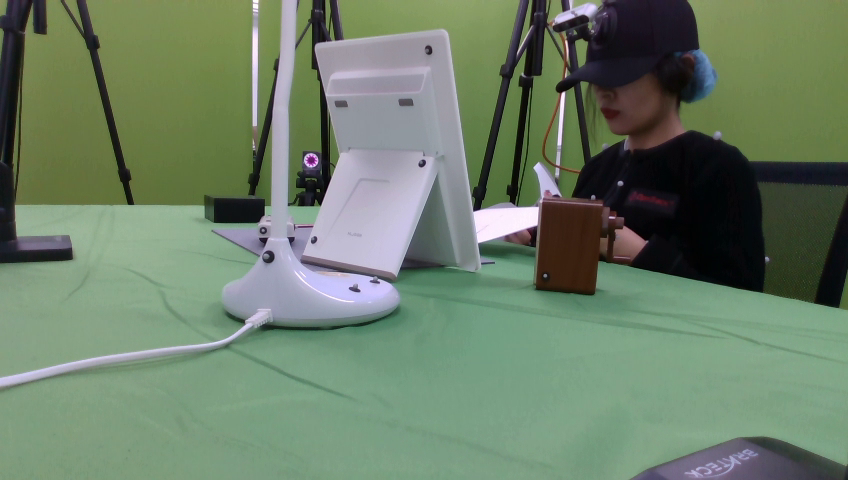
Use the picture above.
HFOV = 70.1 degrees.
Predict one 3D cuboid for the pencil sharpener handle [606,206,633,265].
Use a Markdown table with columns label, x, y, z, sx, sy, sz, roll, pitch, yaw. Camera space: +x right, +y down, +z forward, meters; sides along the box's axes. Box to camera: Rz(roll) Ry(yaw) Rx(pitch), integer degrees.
| label | x | y | z | sx | sy | sz | roll | pitch | yaw |
| --- | --- | --- | --- | --- | --- | --- | --- | --- | --- |
| pencil sharpener handle | 0.222 | -0.004 | 0.683 | 0.030 | 0.068 | 0.036 | 5 | 21 | 16 |

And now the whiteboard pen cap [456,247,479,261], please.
| label | x | y | z | sx | sy | sz | roll | pitch | yaw |
| --- | --- | --- | --- | --- | --- | --- | --- | --- | --- |
| whiteboard pen cap | 0.060 | 0.020 | 0.851 | 0.033 | 0.018 | 0.018 | 10 | 10 | 37 |

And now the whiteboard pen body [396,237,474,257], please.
| label | x | y | z | sx | sy | sz | roll | pitch | yaw |
| --- | --- | --- | --- | --- | --- | --- | --- | --- | --- |
| whiteboard pen body | 0.014 | 0.012 | 0.886 | 0.140 | 0.017 | 0.017 | 9 | 10 | 38 |

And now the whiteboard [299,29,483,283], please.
| label | x | y | z | sx | sy | sz | roll | pitch | yaw |
| --- | --- | --- | --- | --- | --- | --- | --- | --- | --- |
| whiteboard | -0.074 | -0.082 | 0.742 | 0.216 | 0.305 | 0.144 | 9 | 30 | 38 |

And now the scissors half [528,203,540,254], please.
| label | x | y | z | sx | sy | sz | roll | pitch | yaw |
| --- | --- | --- | --- | --- | --- | --- | --- | --- | --- |
| scissors half | 0.199 | -0.020 | 1.085 | 0.012 | 0.040 | 0.175 | 31 | -20 | 24 |

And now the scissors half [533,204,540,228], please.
| label | x | y | z | sx | sy | sz | roll | pitch | yaw |
| --- | --- | --- | --- | --- | --- | --- | --- | --- | --- |
| scissors half | 0.211 | -0.037 | 1.089 | 0.013 | 0.040 | 0.176 | 26 | -3 | 23 |

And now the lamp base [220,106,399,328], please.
| label | x | y | z | sx | sy | sz | roll | pitch | yaw |
| --- | --- | --- | --- | --- | --- | --- | --- | --- | --- |
| lamp base | -0.101 | -0.023 | 0.531 | 0.160 | 0.180 | 0.179 | 4 | 10 | 10 |

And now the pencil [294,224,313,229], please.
| label | x | y | z | sx | sy | sz | roll | pitch | yaw |
| --- | --- | --- | --- | --- | --- | --- | --- | --- | --- |
| pencil | -0.221 | -0.028 | 1.211 | 0.195 | 0.012 | 0.012 | -5 | 10 | -34 |

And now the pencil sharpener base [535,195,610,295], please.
| label | x | y | z | sx | sy | sz | roll | pitch | yaw |
| --- | --- | --- | --- | --- | --- | --- | --- | --- | --- |
| pencil sharpener base | 0.172 | 0.005 | 0.695 | 0.076 | 0.107 | 0.061 | 5 | 7 | 16 |

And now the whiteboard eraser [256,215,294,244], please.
| label | x | y | z | sx | sy | sz | roll | pitch | yaw |
| --- | --- | --- | --- | --- | --- | --- | --- | --- | --- |
| whiteboard eraser | -0.232 | -0.016 | 0.951 | 0.056 | 0.042 | 0.112 | 2 | 7 | -12 |
